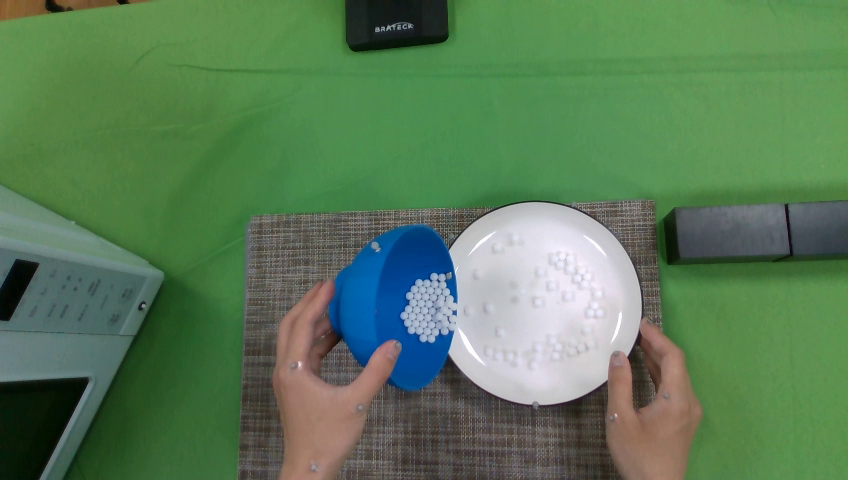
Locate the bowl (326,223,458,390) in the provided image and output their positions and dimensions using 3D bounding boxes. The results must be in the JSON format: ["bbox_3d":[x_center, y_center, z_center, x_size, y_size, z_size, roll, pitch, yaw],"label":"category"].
[{"bbox_3d":[-0.037,0.059,0.564,0.076,0.152,0.151,1,80,30],"label":"bowl"}]

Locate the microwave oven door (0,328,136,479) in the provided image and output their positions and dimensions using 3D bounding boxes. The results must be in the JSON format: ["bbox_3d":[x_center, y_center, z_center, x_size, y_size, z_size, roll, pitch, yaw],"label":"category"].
[{"bbox_3d":[-0.432,0.240,0.558,0.039,0.245,0.355,24,85,13],"label":"microwave oven door"}]

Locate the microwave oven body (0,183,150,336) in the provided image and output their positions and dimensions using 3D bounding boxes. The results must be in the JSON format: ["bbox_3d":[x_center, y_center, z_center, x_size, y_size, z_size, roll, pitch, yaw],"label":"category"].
[{"bbox_3d":[-0.544,0.144,0.596,0.325,0.261,0.441,24,86,11],"label":"microwave oven body"}]

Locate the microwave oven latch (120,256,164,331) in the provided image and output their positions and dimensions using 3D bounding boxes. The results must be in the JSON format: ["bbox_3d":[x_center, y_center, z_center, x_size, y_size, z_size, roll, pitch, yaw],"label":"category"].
[{"bbox_3d":[-0.321,0.060,0.674,0.030,0.029,0.079,26,86,12],"label":"microwave oven latch"}]

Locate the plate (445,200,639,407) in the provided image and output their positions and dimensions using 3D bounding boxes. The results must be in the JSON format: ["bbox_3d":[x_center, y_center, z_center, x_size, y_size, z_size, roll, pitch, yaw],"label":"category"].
[{"bbox_3d":[0.110,0.064,0.622,0.207,0.039,0.207,-1,81,8],"label":"plate"}]
